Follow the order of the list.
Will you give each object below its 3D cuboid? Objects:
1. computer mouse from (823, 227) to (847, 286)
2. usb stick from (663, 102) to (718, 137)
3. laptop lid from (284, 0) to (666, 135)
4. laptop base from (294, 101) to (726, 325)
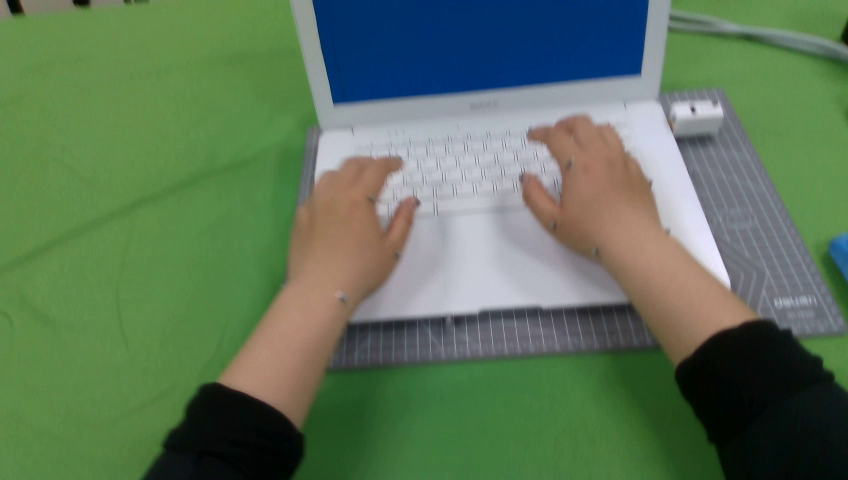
[{"bbox_3d":[0.364,0.029,0.464,0.063,0.041,0.116,-9,46,3],"label":"computer mouse"},{"bbox_3d":[0.253,-0.118,0.594,0.059,0.027,0.021,-6,51,7],"label":"usb stick"},{"bbox_3d":[0.049,-0.216,0.566,0.356,0.244,0.013,-6,38,4],"label":"laptop lid"},{"bbox_3d":[0.064,-0.032,0.564,0.354,0.023,0.233,-5,54,3],"label":"laptop base"}]
